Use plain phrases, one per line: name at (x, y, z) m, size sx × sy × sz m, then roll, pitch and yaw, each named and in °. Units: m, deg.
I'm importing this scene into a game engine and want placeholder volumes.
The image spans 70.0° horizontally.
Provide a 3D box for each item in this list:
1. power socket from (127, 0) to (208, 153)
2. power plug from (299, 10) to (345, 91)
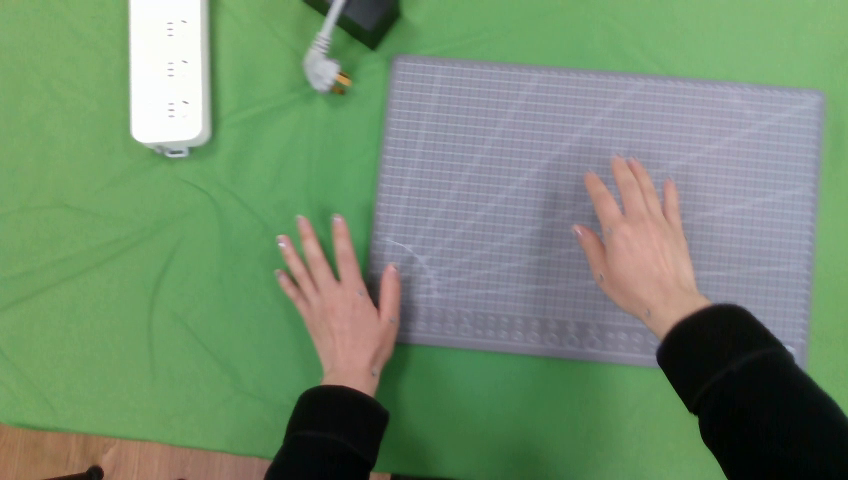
power socket at (-0.264, -0.205, 0.624) m, size 0.072 × 0.032 × 0.226 m, roll -3°, pitch 86°, yaw 0°
power plug at (-0.094, -0.182, 0.606) m, size 0.053 × 0.072 × 0.035 m, roll 22°, pitch 43°, yaw -31°
